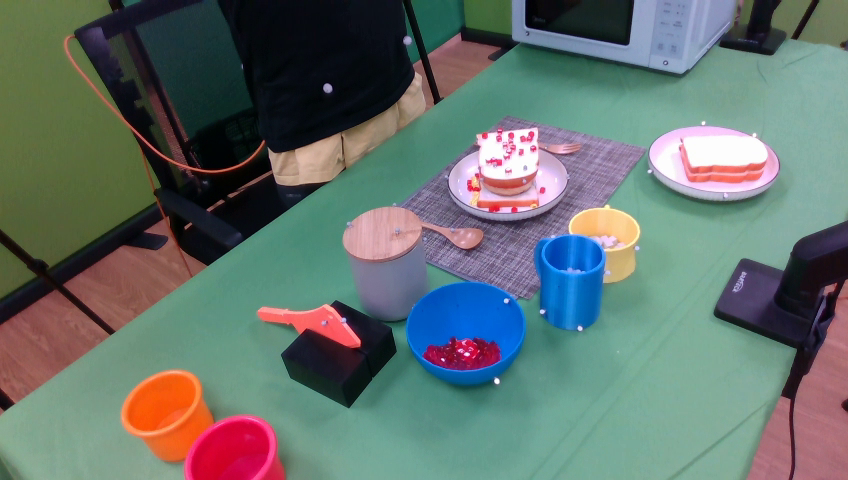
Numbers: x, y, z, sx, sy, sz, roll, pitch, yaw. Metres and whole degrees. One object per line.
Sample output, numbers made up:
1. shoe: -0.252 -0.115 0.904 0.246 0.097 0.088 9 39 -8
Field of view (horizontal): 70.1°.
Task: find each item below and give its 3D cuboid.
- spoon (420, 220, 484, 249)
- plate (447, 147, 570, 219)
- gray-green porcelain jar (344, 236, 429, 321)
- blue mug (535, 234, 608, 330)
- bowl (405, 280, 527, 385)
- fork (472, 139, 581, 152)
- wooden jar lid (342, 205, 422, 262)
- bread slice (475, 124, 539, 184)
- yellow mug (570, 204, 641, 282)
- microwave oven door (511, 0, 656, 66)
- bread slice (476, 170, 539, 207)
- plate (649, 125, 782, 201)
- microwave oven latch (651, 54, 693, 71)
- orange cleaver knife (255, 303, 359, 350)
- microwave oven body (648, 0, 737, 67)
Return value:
1. spoon: 0.010 -0.022 0.989 0.192 0.022 0.041 17 68 25
2. plate: 0.145 -0.098 1.046 0.209 0.038 0.208 -4 40 4
3. gray-green porcelain jar: -0.049 0.042 0.849 0.106 0.127 0.105 -4 41 4
4. blue mug: 0.191 0.048 0.824 0.082 0.106 0.115 -26 44 -21
5. bowl: 0.055 0.131 0.767 0.151 0.077 0.150 -4 40 4
6. fork: 0.193 -0.184 1.153 0.206 0.019 0.028 7 48 14
7. wooden jar lid: -0.055 -0.006 0.808 0.108 0.021 0.108 -6 40 6
8. bread slice: 0.143 -0.144 1.009 0.107 0.018 0.133 -7 46 8
9. yellow mug: 0.268 -0.005 0.904 0.099 0.064 0.130 7 41 15
10. microwave oven door: 0.350 -0.539 1.349 0.353 0.245 0.039 24 50 31
11. bread slice: 0.144 -0.104 1.058 0.105 0.019 0.131 -1 43 5
12. plate: 0.493 -0.128 1.036 0.207 0.039 0.206 -4 41 4
13. microwave oven latch: 0.532 -0.386 1.301 0.078 0.029 0.030 27 52 34
14. orange cleaver knife: -0.161 0.115 0.813 0.209 0.077 0.012 -4 30 47
15. microwave oven body: 0.475 -0.602 1.411 0.438 0.261 0.327 23 50 32
